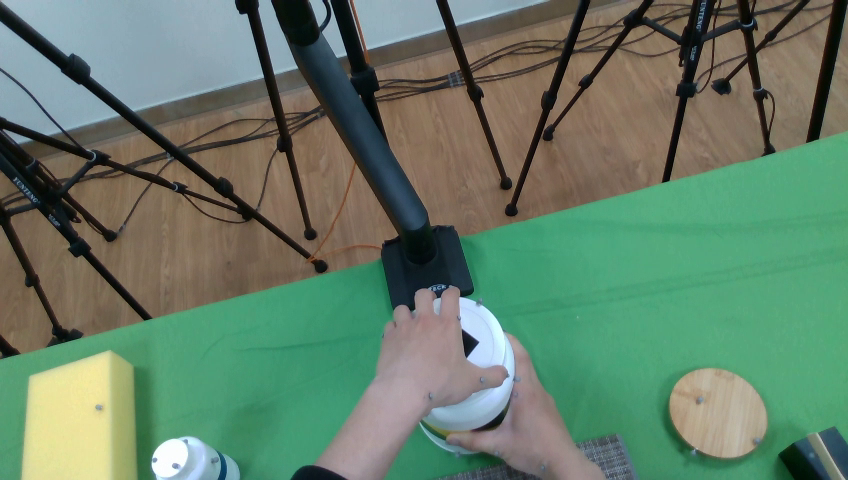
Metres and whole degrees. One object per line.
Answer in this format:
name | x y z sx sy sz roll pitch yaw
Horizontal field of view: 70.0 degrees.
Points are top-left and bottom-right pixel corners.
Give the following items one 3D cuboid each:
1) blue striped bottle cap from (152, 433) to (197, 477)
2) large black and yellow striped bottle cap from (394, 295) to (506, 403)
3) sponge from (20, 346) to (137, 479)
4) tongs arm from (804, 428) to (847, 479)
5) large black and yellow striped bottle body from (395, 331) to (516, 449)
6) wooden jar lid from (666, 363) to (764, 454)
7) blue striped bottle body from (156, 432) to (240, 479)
blue striped bottle cap | -0.281 0.241 0.680 0.044 0.021 0.044 -4 59 7
large black and yellow striped bottle cap | 0.027 0.111 0.629 0.115 0.019 0.114 -4 58 6
sponge | -0.451 0.257 0.796 0.118 0.061 0.204 -19 58 -3
tongs arm | 0.483 0.354 0.558 0.051 0.027 0.381 -18 67 -4
large black and yellow striped bottle body | 0.039 0.157 0.703 0.130 0.186 0.129 -4 57 7
wooden jar lid | 0.344 0.201 0.722 0.108 0.021 0.107 -4 59 7
blue striped bottle body | -0.273 0.269 0.723 0.063 0.122 0.062 -4 58 7
